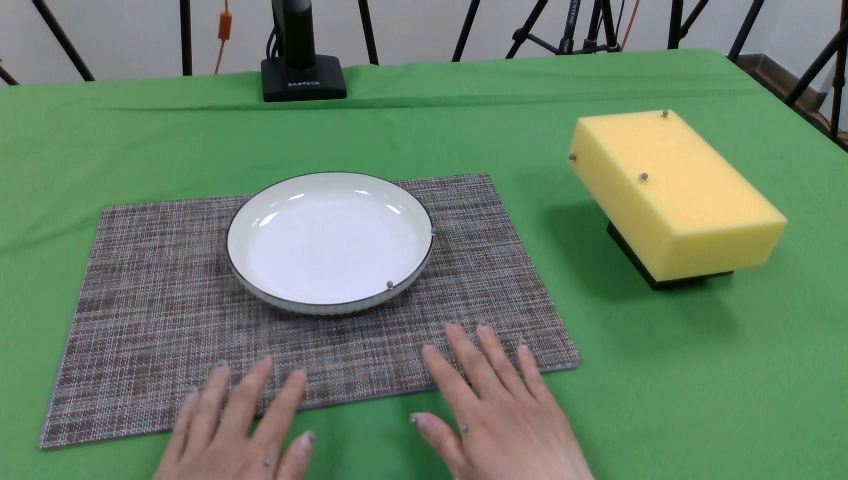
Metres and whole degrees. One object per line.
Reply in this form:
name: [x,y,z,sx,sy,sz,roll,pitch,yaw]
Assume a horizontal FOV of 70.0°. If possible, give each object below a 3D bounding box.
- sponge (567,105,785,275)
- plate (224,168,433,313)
sponge: [0.250,-0.061,0.632,0.118,0.061,0.204,-8,43,-13]
plate: [-0.096,0.000,0.625,0.208,0.039,0.205,2,42,-2]
